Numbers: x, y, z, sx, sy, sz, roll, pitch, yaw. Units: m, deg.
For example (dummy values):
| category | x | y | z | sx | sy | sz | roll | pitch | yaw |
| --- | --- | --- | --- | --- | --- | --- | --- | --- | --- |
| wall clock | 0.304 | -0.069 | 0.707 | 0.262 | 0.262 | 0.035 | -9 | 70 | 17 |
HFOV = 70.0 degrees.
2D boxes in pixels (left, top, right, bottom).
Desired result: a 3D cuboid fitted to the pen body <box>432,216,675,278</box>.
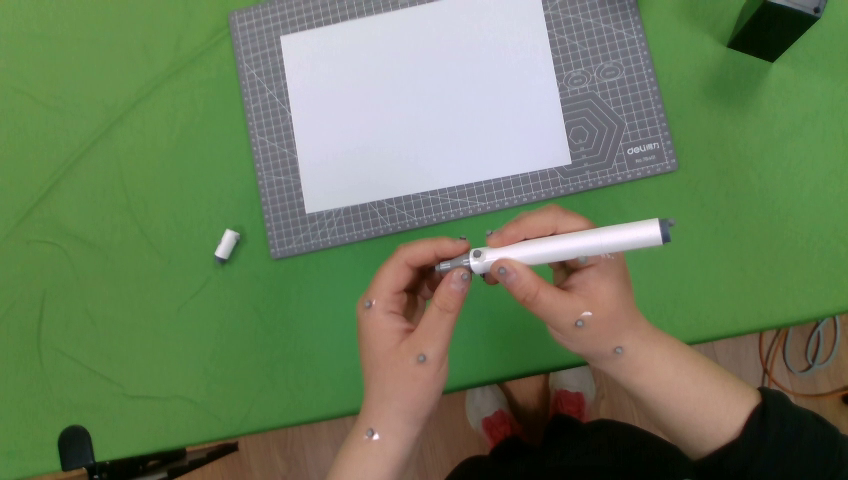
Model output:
| category | x | y | z | sx | sy | sz | roll | pitch | yaw |
| --- | --- | --- | --- | --- | --- | --- | --- | --- | --- |
| pen body | 0.071 | 0.008 | 0.358 | 0.144 | 0.017 | 0.017 | -12 | 83 | 20 |

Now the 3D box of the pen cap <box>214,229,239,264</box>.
| category | x | y | z | sx | sy | sz | roll | pitch | yaw |
| --- | --- | --- | --- | --- | --- | --- | --- | --- | --- |
| pen cap | -0.223 | 0.008 | 0.682 | 0.017 | 0.017 | 0.038 | 26 | 89 | 10 |
